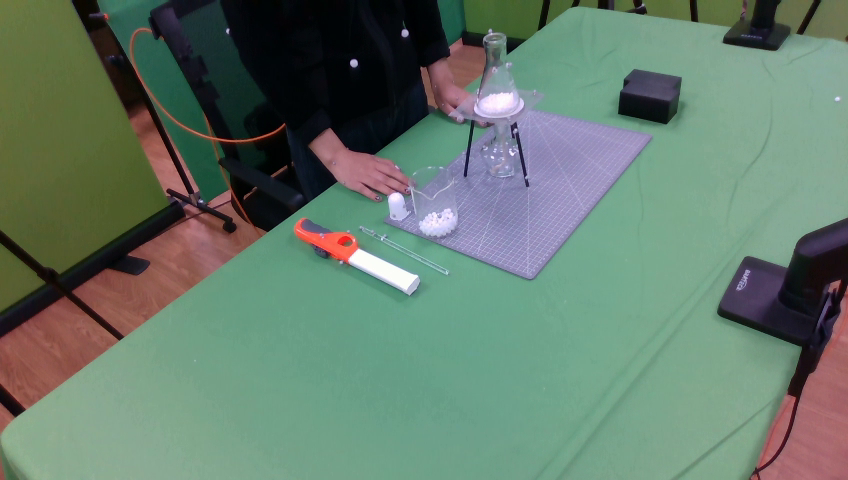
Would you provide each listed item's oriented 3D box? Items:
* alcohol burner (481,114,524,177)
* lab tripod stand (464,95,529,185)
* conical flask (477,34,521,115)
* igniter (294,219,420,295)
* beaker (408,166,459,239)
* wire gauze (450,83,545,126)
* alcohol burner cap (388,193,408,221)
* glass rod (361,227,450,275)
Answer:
[{"bbox_3d":[0.141,-0.174,1.087,0.078,0.119,0.077,-4,40,4],"label":"alcohol burner"},{"bbox_3d":[0.138,-0.182,1.082,0.148,0.132,0.147,-6,38,6],"label":"lab tripod stand"},{"bbox_3d":[0.121,-0.275,0.999,0.075,0.122,0.075,-5,40,5],"label":"conical flask"},{"bbox_3d":[-0.118,0.022,0.977,0.274,0.025,0.057,24,60,34],"label":"igniter"},{"bbox_3d":[0.018,-0.057,0.984,0.074,0.101,0.083,-6,41,5],"label":"beaker"},{"bbox_3d":[0.126,-0.232,1.041,0.120,0.011,0.125,17,48,31],"label":"wire gauze"},{"bbox_3d":[-0.047,-0.059,1.043,0.034,0.048,0.033,-5,40,5],"label":"alcohol burner cap"},{"bbox_3d":[-0.034,0.015,0.985,0.198,0.008,0.008,26,52,34],"label":"glass rod"}]
